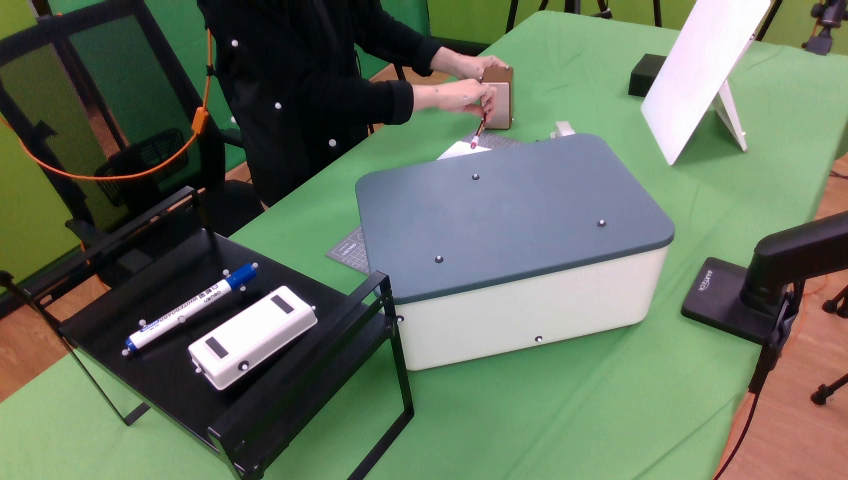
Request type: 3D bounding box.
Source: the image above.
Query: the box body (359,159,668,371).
[{"bbox_3d":[0.108,0.014,0.833,0.365,0.161,0.252,-11,41,-5],"label":"box body"}]

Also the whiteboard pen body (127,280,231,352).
[{"bbox_3d":[-0.248,0.072,0.645,0.141,0.017,0.017,-35,47,-23],"label":"whiteboard pen body"}]

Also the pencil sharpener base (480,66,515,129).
[{"bbox_3d":[0.151,-0.290,1.228,0.061,0.107,0.076,3,41,13],"label":"pencil sharpener base"}]

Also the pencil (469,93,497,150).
[{"bbox_3d":[0.111,-0.223,1.112,0.012,0.012,0.194,8,44,17],"label":"pencil"}]

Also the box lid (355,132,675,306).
[{"bbox_3d":[0.103,-0.042,0.785,0.372,0.015,0.261,-12,41,-5],"label":"box lid"}]

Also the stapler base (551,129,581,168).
[{"bbox_3d":[0.268,-0.178,1.142,0.041,0.024,0.130,1,37,3],"label":"stapler base"}]

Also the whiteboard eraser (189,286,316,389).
[{"bbox_3d":[-0.166,0.096,0.593,0.113,0.042,0.055,-36,47,-29],"label":"whiteboard eraser"}]

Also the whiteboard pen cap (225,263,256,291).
[{"bbox_3d":[-0.204,0.041,0.668,0.033,0.018,0.018,-36,48,-22],"label":"whiteboard pen cap"}]

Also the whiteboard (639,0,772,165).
[{"bbox_3d":[0.543,-0.298,1.076,0.144,0.305,0.216,12,40,-7],"label":"whiteboard"}]

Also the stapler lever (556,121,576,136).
[{"bbox_3d":[0.266,-0.198,1.128,0.027,0.040,0.117,0,38,3],"label":"stapler lever"}]

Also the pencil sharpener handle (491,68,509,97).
[{"bbox_3d":[0.159,-0.332,1.258,0.036,0.068,0.030,5,42,10],"label":"pencil sharpener handle"}]
